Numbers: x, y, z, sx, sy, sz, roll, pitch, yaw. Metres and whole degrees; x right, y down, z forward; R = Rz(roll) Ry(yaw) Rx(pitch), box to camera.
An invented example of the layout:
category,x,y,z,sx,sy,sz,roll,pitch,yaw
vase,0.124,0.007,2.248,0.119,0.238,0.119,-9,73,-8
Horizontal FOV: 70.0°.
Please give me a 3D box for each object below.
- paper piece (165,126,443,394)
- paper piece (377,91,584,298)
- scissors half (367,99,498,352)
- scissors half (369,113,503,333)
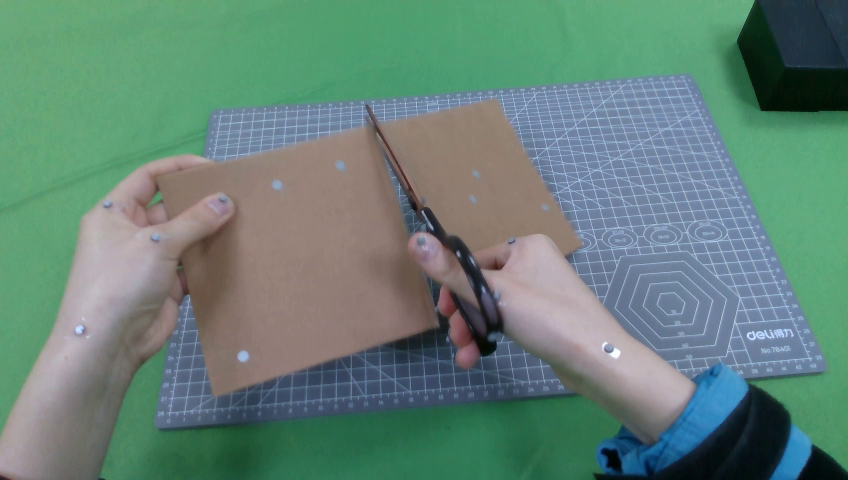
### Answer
category,x,y,z,sx,sy,sz,roll,pitch,yaw
paper piece,-0.074,0.007,0.364,0.138,0.009,0.135,-16,75,-6
paper piece,0.048,-0.037,0.424,0.136,0.004,0.135,-25,85,-42
scissors half,0.002,-0.012,0.373,0.013,0.040,0.174,-25,84,-6
scissors half,0.001,-0.021,0.351,0.013,0.040,0.173,-23,54,-10
